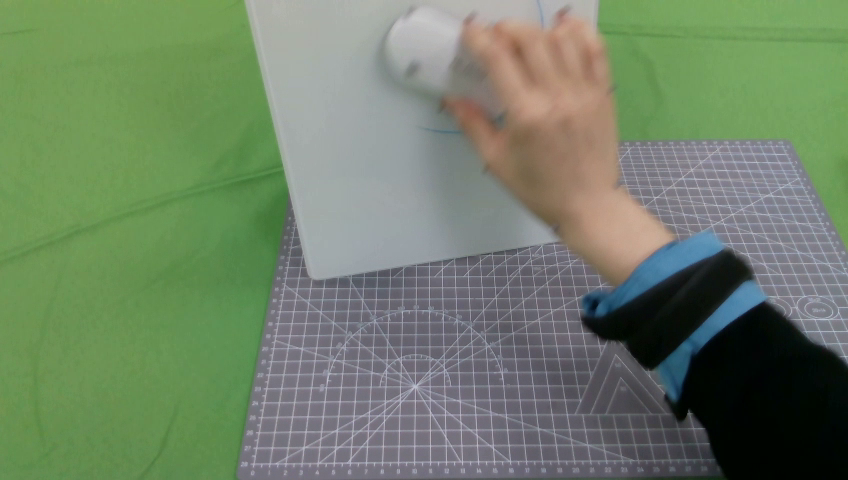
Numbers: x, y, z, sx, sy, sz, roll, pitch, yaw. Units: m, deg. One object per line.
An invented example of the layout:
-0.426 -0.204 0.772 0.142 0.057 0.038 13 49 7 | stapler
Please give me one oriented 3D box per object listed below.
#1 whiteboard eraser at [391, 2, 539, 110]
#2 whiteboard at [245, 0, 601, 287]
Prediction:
0.028 -0.115 0.382 0.102 0.041 0.018 18 26 -25 | whiteboard eraser
-0.003 -0.145 0.442 0.217 0.308 0.142 -9 34 -6 | whiteboard
